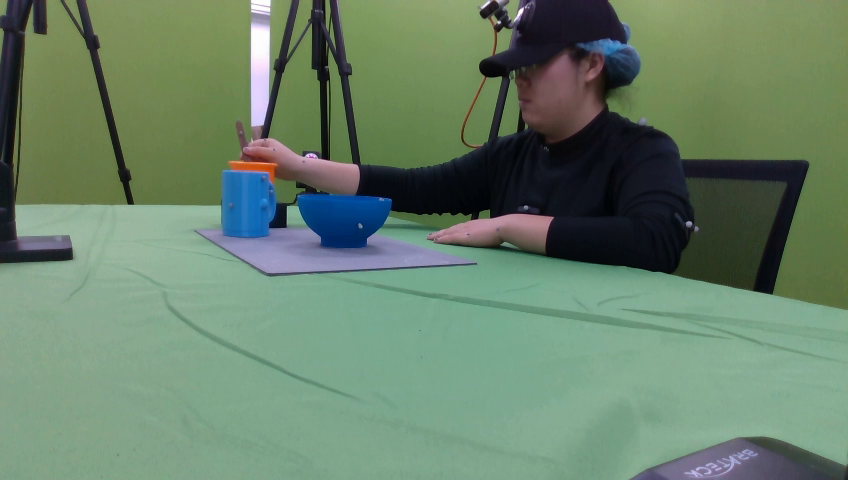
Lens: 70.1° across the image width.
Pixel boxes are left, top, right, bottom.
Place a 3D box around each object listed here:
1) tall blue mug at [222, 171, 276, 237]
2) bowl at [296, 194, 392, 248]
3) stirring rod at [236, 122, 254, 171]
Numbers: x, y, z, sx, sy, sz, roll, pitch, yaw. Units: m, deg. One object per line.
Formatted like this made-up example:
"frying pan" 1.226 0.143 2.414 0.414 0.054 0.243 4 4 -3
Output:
"tall blue mug" -0.303 -0.064 1.043 0.078 0.108 0.107 1 7 -4
"bowl" -0.127 -0.030 0.963 0.151 0.077 0.151 2 7 0
"stirring rod" -0.351 -0.163 1.206 0.014 0.175 0.006 -5 -24 -34
